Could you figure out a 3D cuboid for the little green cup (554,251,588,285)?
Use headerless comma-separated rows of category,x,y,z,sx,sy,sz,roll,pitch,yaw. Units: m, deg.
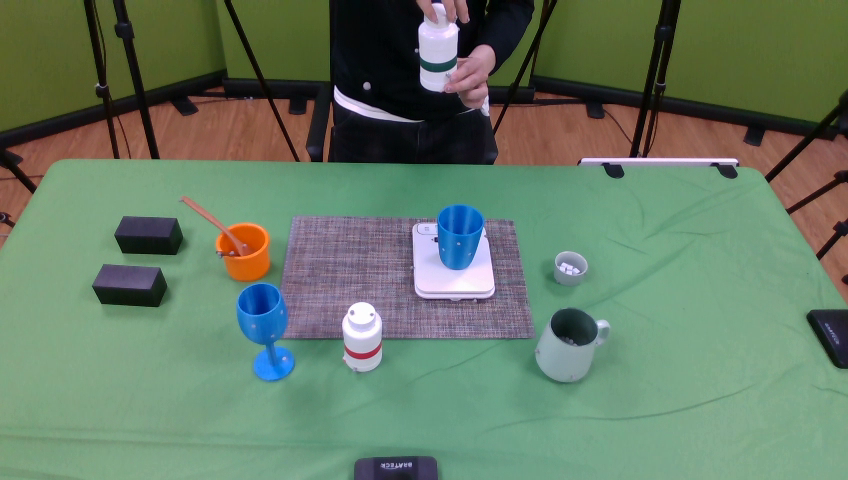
little green cup,0.277,0.055,1.151,0.061,0.039,0.061,1,46,-1

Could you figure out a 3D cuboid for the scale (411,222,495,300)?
scale,0.052,0.031,1.158,0.149,0.032,0.199,1,46,-4

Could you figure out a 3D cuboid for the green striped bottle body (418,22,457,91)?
green striped bottle body,0.022,-0.309,0.980,0.063,0.120,0.063,0,48,1

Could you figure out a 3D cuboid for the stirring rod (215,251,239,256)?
stirring rod,-0.339,0.024,1.059,0.014,0.176,0.006,16,86,-6

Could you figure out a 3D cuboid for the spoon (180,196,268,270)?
spoon,-0.359,-0.014,1.094,0.021,0.194,0.041,-28,26,31

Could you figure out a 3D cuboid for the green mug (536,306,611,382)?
green mug,0.250,0.167,0.996,0.125,0.105,0.092,-15,48,-18

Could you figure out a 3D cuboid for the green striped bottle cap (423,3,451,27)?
green striped bottle cap,0.020,-0.349,0.938,0.044,0.020,0.044,4,47,-4

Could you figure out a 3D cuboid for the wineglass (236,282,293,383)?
wineglass,-0.243,0.143,0.934,0.074,0.173,0.073,2,46,-2

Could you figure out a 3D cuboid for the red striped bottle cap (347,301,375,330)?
red striped bottle cap,-0.097,0.116,0.934,0.044,0.018,0.044,3,49,-3

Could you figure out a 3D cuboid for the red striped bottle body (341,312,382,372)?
red striped bottle body,-0.100,0.154,0.972,0.063,0.120,0.062,2,46,-1

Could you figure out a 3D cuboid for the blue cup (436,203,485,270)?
blue cup,0.062,-0.001,1.099,0.093,0.101,0.092,2,44,-2
